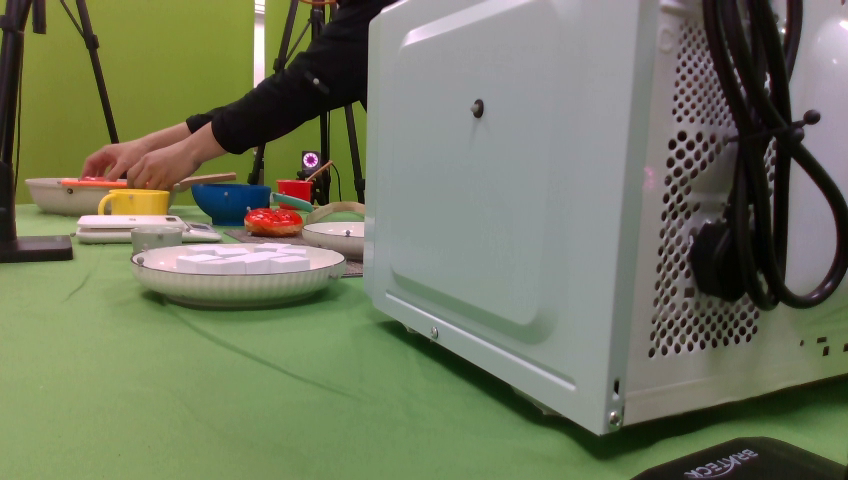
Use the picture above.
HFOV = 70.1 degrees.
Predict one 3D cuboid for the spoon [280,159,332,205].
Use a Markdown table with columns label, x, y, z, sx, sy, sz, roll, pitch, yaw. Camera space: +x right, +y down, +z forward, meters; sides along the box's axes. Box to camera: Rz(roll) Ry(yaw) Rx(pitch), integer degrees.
| label | x | y | z | sx | sy | sz | roll | pitch | yaw |
| --- | --- | --- | --- | --- | --- | --- | --- | --- | --- |
| spoon | -0.316 | -0.158 | 1.640 | 0.194 | 0.022 | 0.041 | -50 | 32 | -20 |

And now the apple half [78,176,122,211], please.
| label | x | y | z | sx | sy | sz | roll | pitch | yaw |
| --- | --- | --- | --- | --- | --- | --- | --- | --- | --- |
| apple half | -0.698 | -0.099 | 1.295 | 0.053 | 0.074 | 0.081 | 4 | 9 | 43 |

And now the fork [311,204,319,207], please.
| label | x | y | z | sx | sy | sz | roll | pitch | yaw |
| --- | --- | --- | --- | --- | --- | --- | --- | --- | --- |
| fork | -0.356 | -0.105 | 1.526 | 0.208 | 0.018 | 0.028 | 16 | -6 | -41 |

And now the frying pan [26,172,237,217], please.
| label | x | y | z | sx | sy | sz | roll | pitch | yaw |
| --- | --- | --- | --- | --- | --- | --- | --- | --- | --- |
| frying pan | -0.624 | -0.118 | 1.387 | 0.305 | 0.102 | 0.490 | 8 | 17 | 32 |

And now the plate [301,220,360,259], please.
| label | x | y | z | sx | sy | sz | roll | pitch | yaw |
| --- | --- | --- | --- | --- | --- | --- | --- | --- | --- |
| plate | -0.077 | -0.002 | 0.893 | 0.209 | 0.038 | 0.209 | 3 | 8 | 0 |

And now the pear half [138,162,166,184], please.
| label | x | y | z | sx | sy | sz | roll | pitch | yaw |
| --- | --- | --- | --- | --- | --- | --- | --- | --- | --- |
| pear half | -0.602 | -0.120 | 1.354 | 0.056 | 0.110 | 0.076 | 3 | 11 | 6 |

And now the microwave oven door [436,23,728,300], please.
| label | x | y | z | sx | sy | sz | roll | pitch | yaw |
| --- | --- | --- | --- | --- | --- | --- | --- | --- | --- |
| microwave oven door | 0.180 | -0.073 | 0.621 | 0.358 | 0.243 | 0.039 | -2 | 9 | -29 |

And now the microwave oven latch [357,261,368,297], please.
| label | x | y | z | sx | sy | sz | roll | pitch | yaw |
| --- | --- | --- | --- | --- | --- | --- | --- | --- | --- |
| microwave oven latch | -0.019 | 0.033 | 0.531 | 0.079 | 0.029 | 0.030 | -1 | 7 | -27 |

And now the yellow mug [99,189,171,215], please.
| label | x | y | z | sx | sy | sz | roll | pitch | yaw |
| --- | --- | --- | --- | --- | --- | --- | --- | --- | --- |
| yellow mug | -0.519 | -0.055 | 1.080 | 0.099 | 0.064 | 0.131 | 7 | 10 | 26 |

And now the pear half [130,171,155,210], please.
| label | x | y | z | sx | sy | sz | roll | pitch | yaw |
| --- | --- | --- | --- | --- | --- | --- | --- | --- | --- |
| pear half | -0.639 | -0.113 | 1.361 | 0.031 | 0.088 | 0.070 | 7 | 12 | 8 |

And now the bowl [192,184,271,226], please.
| label | x | y | z | sx | sy | sz | roll | pitch | yaw |
| --- | --- | --- | --- | --- | --- | --- | --- | --- | --- |
| bowl | -0.382 | -0.070 | 1.202 | 0.151 | 0.077 | 0.151 | 2 | 7 | 0 |

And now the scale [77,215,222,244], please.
| label | x | y | z | sx | sy | sz | roll | pitch | yaw |
| --- | --- | --- | --- | --- | --- | --- | --- | --- | --- |
| scale | -0.434 | -0.018 | 0.963 | 0.202 | 0.031 | 0.148 | -1 | 8 | -27 |

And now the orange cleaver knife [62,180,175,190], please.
| label | x | y | z | sx | sy | sz | roll | pitch | yaw |
| --- | --- | --- | --- | --- | --- | --- | --- | --- | --- |
| orange cleaver knife | -0.600 | -0.110 | 1.193 | 0.212 | 0.012 | 0.077 | 1 | 9 | -13 |

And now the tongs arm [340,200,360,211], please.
| label | x | y | z | sx | sy | sz | roll | pitch | yaw |
| --- | --- | --- | --- | --- | --- | --- | --- | --- | --- |
| tongs arm | -0.149 | -0.070 | 1.429 | 0.051 | 0.026 | 0.383 | -5 | 9 | -14 |

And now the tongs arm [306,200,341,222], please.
| label | x | y | z | sx | sy | sz | roll | pitch | yaw |
| --- | --- | --- | --- | --- | --- | --- | --- | --- | --- |
| tongs arm | -0.234 | -0.067 | 1.414 | 0.028 | 0.028 | 0.387 | -6 | 8 | 1 |

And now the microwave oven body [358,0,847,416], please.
| label | x | y | z | sx | sy | sz | roll | pitch | yaw |
| --- | --- | --- | --- | --- | --- | --- | --- | --- | --- |
| microwave oven body | 0.211 | -0.047 | 0.475 | 0.444 | 0.260 | 0.324 | -1 | 7 | -28 |

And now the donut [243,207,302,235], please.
| label | x | y | z | sx | sy | sz | roll | pitch | yaw |
| --- | --- | --- | --- | --- | --- | --- | --- | --- | --- |
| donut | -0.261 | -0.032 | 1.043 | 0.099 | 0.048 | 0.099 | 4 | 9 | 0 |

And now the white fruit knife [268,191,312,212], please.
| label | x | y | z | sx | sy | sz | roll | pitch | yaw |
| --- | --- | --- | --- | --- | --- | --- | --- | --- | --- |
| white fruit knife | -0.364 | -0.105 | 1.464 | 0.208 | 0.027 | 0.016 | 15 | 0 | -34 |

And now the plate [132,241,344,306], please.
| label | x | y | z | sx | sy | sz | roll | pitch | yaw |
| --- | --- | --- | --- | --- | --- | --- | --- | --- | --- |
| plate | -0.187 | 0.033 | 0.625 | 0.208 | 0.039 | 0.207 | 2 | 8 | 0 |

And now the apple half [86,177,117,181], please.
| label | x | y | z | sx | sy | sz | roll | pitch | yaw |
| --- | --- | --- | --- | --- | --- | --- | --- | --- | --- |
| apple half | -0.671 | -0.096 | 1.269 | 0.032 | 0.081 | 0.082 | 7 | 9 | 43 |

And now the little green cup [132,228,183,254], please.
| label | x | y | z | sx | sy | sz | roll | pitch | yaw |
| --- | --- | --- | --- | --- | --- | --- | --- | --- | --- |
| little green cup | -0.342 | 0.006 | 0.779 | 0.061 | 0.038 | 0.061 | 2 | 8 | 0 |
